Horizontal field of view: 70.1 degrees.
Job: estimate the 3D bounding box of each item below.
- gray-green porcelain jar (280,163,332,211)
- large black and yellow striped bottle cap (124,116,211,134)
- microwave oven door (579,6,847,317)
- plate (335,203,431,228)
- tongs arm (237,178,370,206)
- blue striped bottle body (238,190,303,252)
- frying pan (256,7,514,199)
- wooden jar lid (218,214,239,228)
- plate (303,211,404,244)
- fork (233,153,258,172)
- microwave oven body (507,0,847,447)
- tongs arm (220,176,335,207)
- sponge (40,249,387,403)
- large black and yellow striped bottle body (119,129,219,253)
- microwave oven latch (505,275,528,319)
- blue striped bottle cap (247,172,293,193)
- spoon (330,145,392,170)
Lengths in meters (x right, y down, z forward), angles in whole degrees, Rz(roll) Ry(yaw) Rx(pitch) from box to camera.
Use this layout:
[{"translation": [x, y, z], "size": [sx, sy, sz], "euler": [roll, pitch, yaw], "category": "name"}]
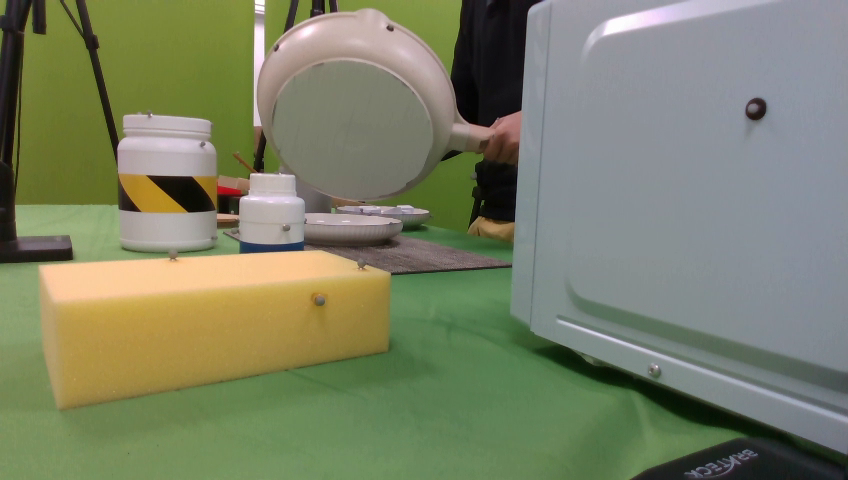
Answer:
[{"translation": [-0.238, -0.092, 1.221], "size": [0.106, 0.126, 0.106], "euler": [2, 7, 0], "category": "gray-green porcelain jar"}, {"translation": [-0.366, -0.163, 0.866], "size": [0.115, 0.019, 0.115], "euler": [3, 7, 0], "category": "large black and yellow striped bottle cap"}, {"translation": [0.294, -0.067, 0.570], "size": [0.358, 0.243, 0.039], "euler": [-3, 9, -31], "category": "microwave oven door"}, {"translation": [-0.089, -0.053, 1.309], "size": [0.208, 0.039, 0.207], "euler": [2, 8, 0], "category": "plate"}, {"translation": [-0.242, -0.095, 1.374], "size": [0.387, 0.026, 0.050], "euler": [9, 0, -37], "category": "tongs arm"}, {"translation": [-0.153, -0.007, 0.605], "size": [0.063, 0.120, 0.063], "euler": [2, 7, 0], "category": "blue striped bottle body"}, {"translation": [0.003, -0.166, 0.889], "size": [0.489, 0.306, 0.102], "euler": [3, 44, -12], "category": "frying pan"}, {"translation": [-0.404, -0.037, 1.169], "size": [0.108, 0.020, 0.108], "euler": [3, 7, 0], "category": "wooden jar lid"}, {"translation": [-0.139, -0.022, 1.021], "size": [0.209, 0.038, 0.209], "euler": [2, 8, 0], "category": "plate"}, {"translation": [-0.396, -0.143, 1.486], "size": [0.028, 0.018, 0.208], "euler": [21, -25, 45], "category": "fork"}, {"translation": [0.331, -0.042, 0.425], "size": [0.444, 0.260, 0.324], "euler": [-2, 8, -31], "category": "microwave oven body"}, {"translation": [-0.286, -0.104, 1.445], "size": [0.389, 0.027, 0.028], "euler": [9, -4, -23], "category": "tongs arm"}, {"translation": [-0.142, 0.047, 0.420], "size": [0.208, 0.061, 0.117], "euler": [-3, 8, -36], "category": "sponge"}, {"translation": [-0.368, -0.080, 0.876], "size": [0.131, 0.184, 0.130], "euler": [2, 7, 0], "category": "large black and yellow striped bottle body"}, {"translation": [0.100, 0.041, 0.471], "size": [0.079, 0.029, 0.030], "euler": [-1, 7, -28], "category": "microwave oven latch"}, {"translation": [-0.152, -0.057, 0.598], "size": [0.044, 0.020, 0.044], "euler": [3, 6, 0], "category": "blue striped bottle cap"}, {"translation": [-0.105, -0.133, 1.045], "size": [0.021, 0.041, 0.195], "euler": [9, 4, 30], "category": "spoon"}]
